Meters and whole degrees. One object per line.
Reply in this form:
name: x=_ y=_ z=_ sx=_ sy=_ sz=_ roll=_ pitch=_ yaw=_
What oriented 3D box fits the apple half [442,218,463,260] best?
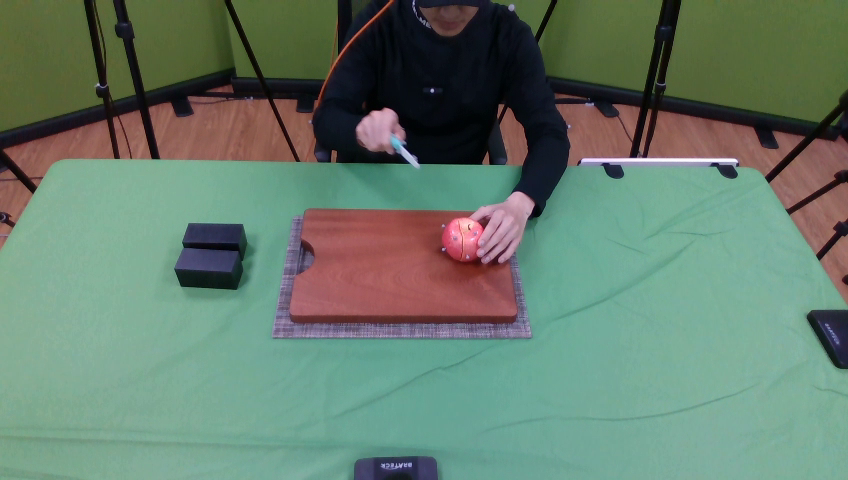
apple half: x=0.050 y=0.002 z=1.120 sx=0.033 sy=0.081 sz=0.080 roll=-4 pitch=46 yaw=-8

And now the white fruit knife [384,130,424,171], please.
white fruit knife: x=-0.035 y=-0.157 z=1.051 sx=0.016 sy=0.027 sz=0.206 roll=-21 pitch=31 yaw=-11

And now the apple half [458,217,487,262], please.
apple half: x=0.089 y=0.000 z=1.126 sx=0.053 sy=0.075 sz=0.080 roll=-3 pitch=43 yaw=-11
